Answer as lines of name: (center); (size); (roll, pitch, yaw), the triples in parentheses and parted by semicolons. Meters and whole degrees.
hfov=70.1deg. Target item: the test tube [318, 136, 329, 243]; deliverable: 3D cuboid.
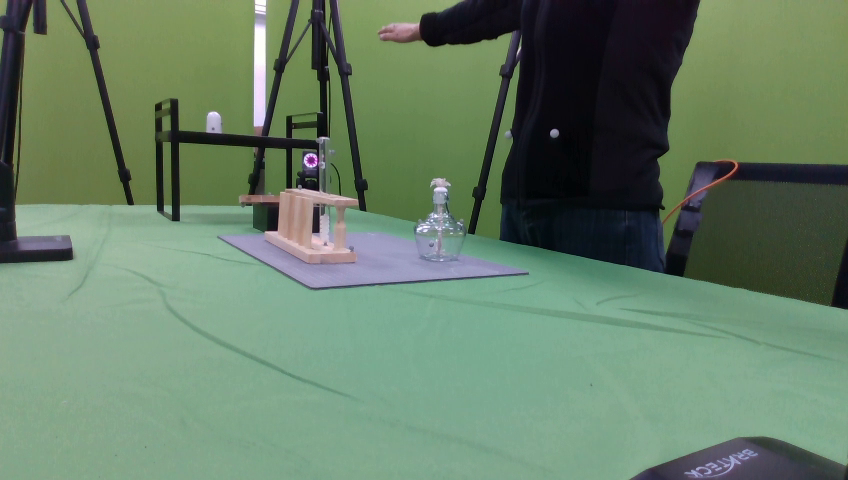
test tube: (-0.142, -0.070, 0.852); (0.017, 0.150, 0.017); (1, 7, 0)

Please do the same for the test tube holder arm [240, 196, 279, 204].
test tube holder arm: (-0.296, -0.075, 1.124); (0.088, 0.015, 0.010); (-1, 4, -35)

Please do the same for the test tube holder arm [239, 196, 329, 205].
test tube holder arm: (-0.263, -0.076, 1.155); (0.179, 0.015, 0.013); (-1, 4, -36)

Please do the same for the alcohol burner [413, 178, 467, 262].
alcohol burner: (0.022, -0.029, 0.864); (0.078, 0.119, 0.078); (1, 6, 0)

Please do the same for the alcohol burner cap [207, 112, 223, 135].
alcohol burner cap: (-0.440, -0.245, 1.271); (0.034, 0.048, 0.034); (1, 7, 0)

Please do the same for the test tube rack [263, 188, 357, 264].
test tube rack: (-0.175, -0.027, 0.890); (0.067, 0.085, 0.241); (0, 8, -28)
